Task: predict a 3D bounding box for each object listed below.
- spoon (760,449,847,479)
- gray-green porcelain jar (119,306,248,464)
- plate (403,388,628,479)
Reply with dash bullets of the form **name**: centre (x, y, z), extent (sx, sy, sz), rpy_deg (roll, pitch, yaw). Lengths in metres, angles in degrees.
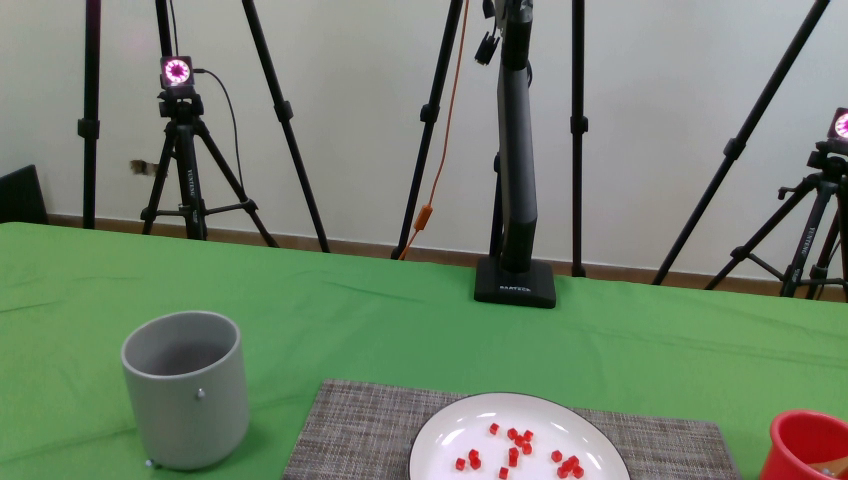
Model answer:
- **spoon**: centre (0.409, 0.193, 0.558), extent (0.194, 0.022, 0.041), rpy_deg (-36, 17, 24)
- **gray-green porcelain jar**: centre (-0.231, 0.146, 0.597), extent (0.106, 0.127, 0.105), rpy_deg (3, 28, -1)
- **plate**: centre (0.083, 0.224, 0.571), extent (0.208, 0.039, 0.206), rpy_deg (3, 28, -1)
